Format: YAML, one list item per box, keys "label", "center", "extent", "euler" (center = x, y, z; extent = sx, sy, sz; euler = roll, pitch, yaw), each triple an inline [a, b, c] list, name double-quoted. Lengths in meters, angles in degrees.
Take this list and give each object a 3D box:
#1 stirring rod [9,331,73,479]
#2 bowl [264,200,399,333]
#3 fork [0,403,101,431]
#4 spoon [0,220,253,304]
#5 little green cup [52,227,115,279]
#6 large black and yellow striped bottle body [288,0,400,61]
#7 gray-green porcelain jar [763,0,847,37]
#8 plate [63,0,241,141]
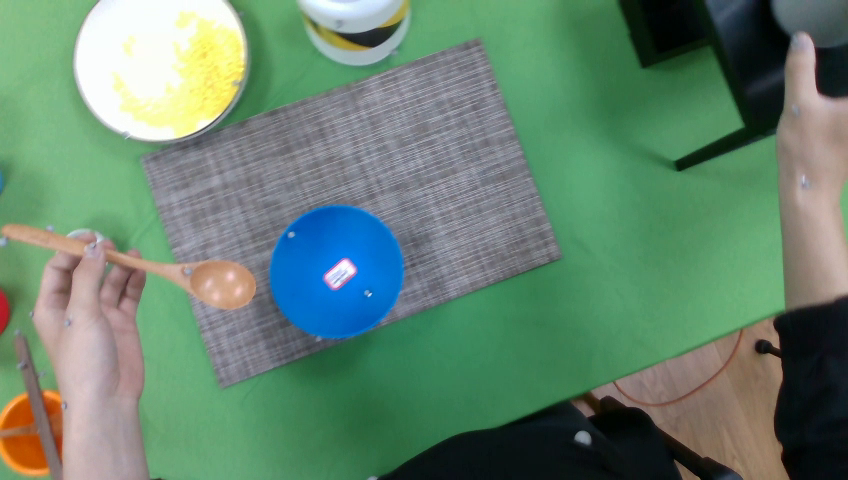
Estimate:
- label: "stirring rod"
  center: [-0.416, 0.182, 0.658]
  extent: [0.014, 0.006, 0.176]
  euler: [-20, 88, -2]
- label: "bowl"
  center: [-0.104, 0.032, 0.714]
  extent: [0.151, 0.077, 0.151]
  euler: [0, 87, -2]
- label: "fork"
  center: [-0.466, 0.204, 0.657]
  extent: [0.209, 0.018, 0.028]
  euler: [2, 88, -46]
- label: "spoon"
  center: [-0.237, 0.014, 0.495]
  extent: [0.195, 0.021, 0.041]
  euler: [18, 92, -24]
- label: "little green cup"
  center: [-0.404, 0.016, 0.725]
  extent: [0.061, 0.038, 0.061]
  euler: [0, 87, -2]
- label: "large black and yellow striped bottle body"
  center: [-0.093, -0.295, 0.683]
  extent: [0.131, 0.184, 0.130]
  euler: [0, 86, -2]
- label: "gray-green porcelain jar"
  center: [0.384, -0.253, 0.550]
  extent: [0.106, 0.126, 0.105]
  euler: [0, 87, -1]
- label: "plate"
  center: [-0.327, -0.221, 0.742]
  extent: [0.209, 0.038, 0.208]
  euler: [0, 87, -3]
